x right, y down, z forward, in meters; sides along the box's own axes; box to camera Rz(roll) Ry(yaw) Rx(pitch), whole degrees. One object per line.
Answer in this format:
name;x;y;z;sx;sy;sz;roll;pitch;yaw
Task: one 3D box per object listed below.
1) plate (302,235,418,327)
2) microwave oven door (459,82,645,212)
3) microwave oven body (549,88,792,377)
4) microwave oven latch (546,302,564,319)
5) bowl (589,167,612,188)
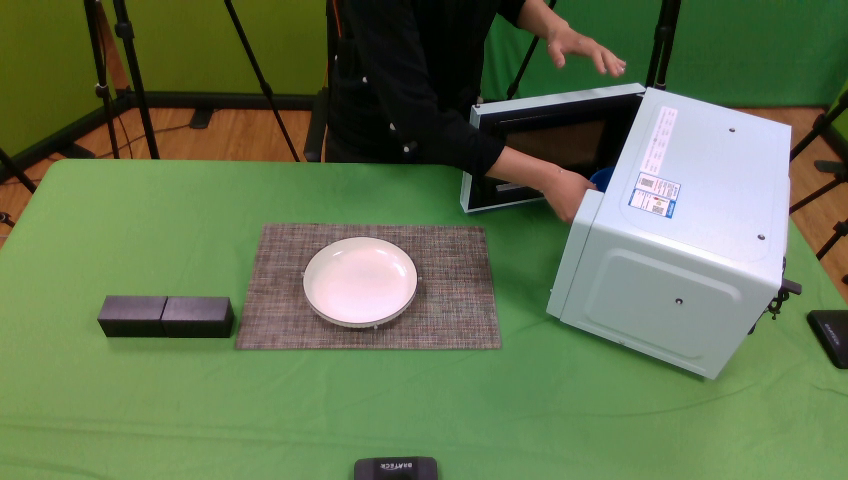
plate;-0.114;0.077;1.098;0.208;0.039;0.206;2;46;-2
microwave oven door;0.253;-0.185;1.217;0.356;0.245;0.039;-11;48;-14
microwave oven body;0.456;-0.028;1.088;0.325;0.261;0.440;20;47;16
microwave oven latch;0.242;0.102;1.081;0.030;0.029;0.079;22;48;17
bowl;0.377;-0.061;1.151;0.151;0.077;0.150;4;48;-4
